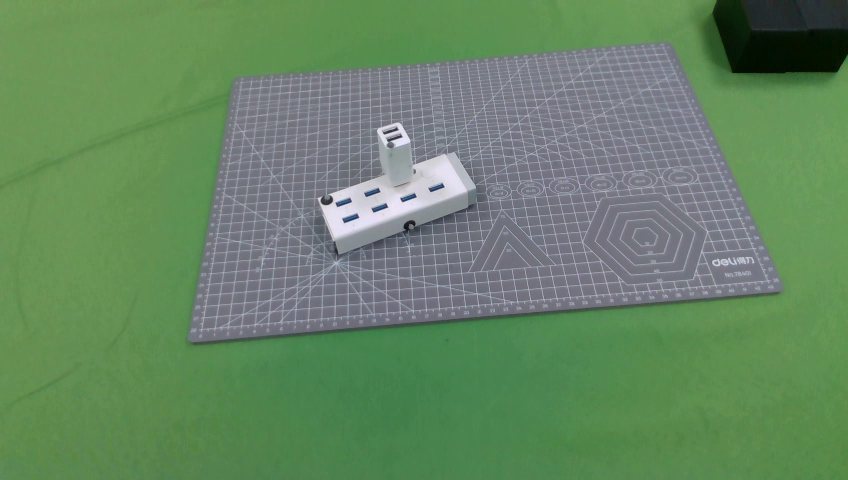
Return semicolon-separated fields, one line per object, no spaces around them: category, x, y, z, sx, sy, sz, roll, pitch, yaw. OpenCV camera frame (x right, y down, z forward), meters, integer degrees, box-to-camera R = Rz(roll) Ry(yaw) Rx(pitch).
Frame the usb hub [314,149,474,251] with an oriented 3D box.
usb hub;-0.025;-0.036;0.506;0.125;0.025;0.049;-20;56;-11

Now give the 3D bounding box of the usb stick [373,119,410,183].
usb stick;-0.025;-0.066;0.491;0.021;0.060;0.027;-20;53;-12
